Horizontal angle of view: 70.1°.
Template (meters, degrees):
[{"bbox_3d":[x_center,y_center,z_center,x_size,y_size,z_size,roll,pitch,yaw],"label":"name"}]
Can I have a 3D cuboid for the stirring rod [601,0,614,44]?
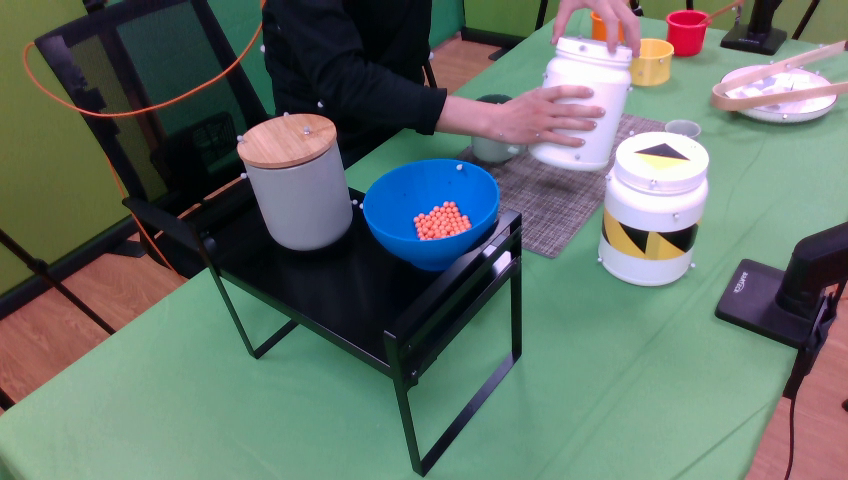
[{"bbox_3d":[0.440,-0.552,1.463,0.014,0.006,0.175,-7,83,2],"label":"stirring rod"}]

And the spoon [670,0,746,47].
[{"bbox_3d":[0.629,-0.485,1.350,0.022,0.193,0.042,48,54,-7],"label":"spoon"}]

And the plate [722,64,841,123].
[{"bbox_3d":[0.695,-0.283,1.189,0.207,0.039,0.206,-4,40,4],"label":"plate"}]

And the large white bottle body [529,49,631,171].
[{"bbox_3d":[0.249,-0.216,0.959,0.131,0.185,0.130,7,25,-3],"label":"large white bottle body"}]

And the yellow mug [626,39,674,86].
[{"bbox_3d":[0.484,-0.398,1.334,0.100,0.064,0.130,-18,40,-11],"label":"yellow mug"}]

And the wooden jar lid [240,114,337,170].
[{"bbox_3d":[-0.149,-0.106,0.673,0.108,0.021,0.108,-6,38,5],"label":"wooden jar lid"}]

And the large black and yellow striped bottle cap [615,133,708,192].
[{"bbox_3d":[0.313,-0.105,0.799,0.115,0.019,0.114,-5,41,5],"label":"large black and yellow striped bottle cap"}]

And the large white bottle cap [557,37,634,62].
[{"bbox_3d":[0.261,-0.291,0.923,0.115,0.018,0.114,8,25,-3],"label":"large white bottle cap"}]

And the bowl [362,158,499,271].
[{"bbox_3d":[0.011,-0.019,0.679,0.151,0.077,0.150,-5,41,4],"label":"bowl"}]

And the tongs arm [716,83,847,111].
[{"bbox_3d":[0.738,-0.281,1.134,0.388,0.028,0.028,-9,47,-5],"label":"tongs arm"}]

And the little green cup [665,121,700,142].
[{"bbox_3d":[0.473,-0.189,1.113,0.061,0.039,0.061,-5,40,4],"label":"little green cup"}]

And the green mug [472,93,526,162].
[{"bbox_3d":[0.143,-0.202,1.122,0.093,0.105,0.124,-29,45,-23],"label":"green mug"}]

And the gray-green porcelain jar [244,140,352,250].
[{"bbox_3d":[-0.144,-0.060,0.714,0.106,0.127,0.105,-4,41,4],"label":"gray-green porcelain jar"}]

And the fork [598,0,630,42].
[{"bbox_3d":[0.481,-0.556,1.452,0.028,0.019,0.207,40,103,39],"label":"fork"}]

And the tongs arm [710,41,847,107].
[{"bbox_3d":[0.712,-0.332,1.194,0.386,0.026,0.050,-19,45,-16],"label":"tongs arm"}]

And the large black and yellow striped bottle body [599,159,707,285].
[{"bbox_3d":[0.320,-0.042,0.854,0.131,0.185,0.130,-4,41,4],"label":"large black and yellow striped bottle body"}]
